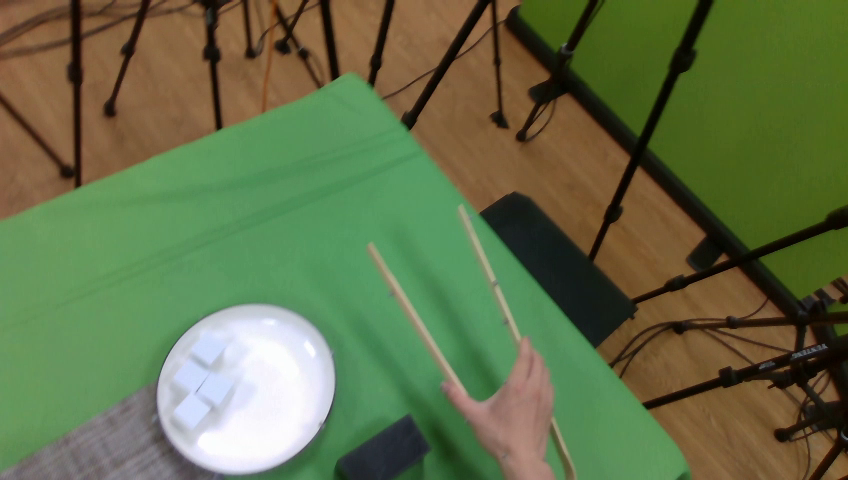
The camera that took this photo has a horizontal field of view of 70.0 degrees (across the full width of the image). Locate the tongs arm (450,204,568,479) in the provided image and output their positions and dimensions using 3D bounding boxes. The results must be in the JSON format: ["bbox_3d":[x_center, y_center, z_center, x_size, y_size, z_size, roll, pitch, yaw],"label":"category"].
[{"bbox_3d":[0.095,0.132,0.772,0.051,0.026,0.382,-20,77,-21],"label":"tongs arm"}]

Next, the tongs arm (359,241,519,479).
[{"bbox_3d":[0.030,0.160,0.747,0.028,0.028,0.386,-31,80,-26],"label":"tongs arm"}]

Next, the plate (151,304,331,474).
[{"bbox_3d":[-0.219,0.180,0.743,0.208,0.039,0.206,7,59,-10],"label":"plate"}]
